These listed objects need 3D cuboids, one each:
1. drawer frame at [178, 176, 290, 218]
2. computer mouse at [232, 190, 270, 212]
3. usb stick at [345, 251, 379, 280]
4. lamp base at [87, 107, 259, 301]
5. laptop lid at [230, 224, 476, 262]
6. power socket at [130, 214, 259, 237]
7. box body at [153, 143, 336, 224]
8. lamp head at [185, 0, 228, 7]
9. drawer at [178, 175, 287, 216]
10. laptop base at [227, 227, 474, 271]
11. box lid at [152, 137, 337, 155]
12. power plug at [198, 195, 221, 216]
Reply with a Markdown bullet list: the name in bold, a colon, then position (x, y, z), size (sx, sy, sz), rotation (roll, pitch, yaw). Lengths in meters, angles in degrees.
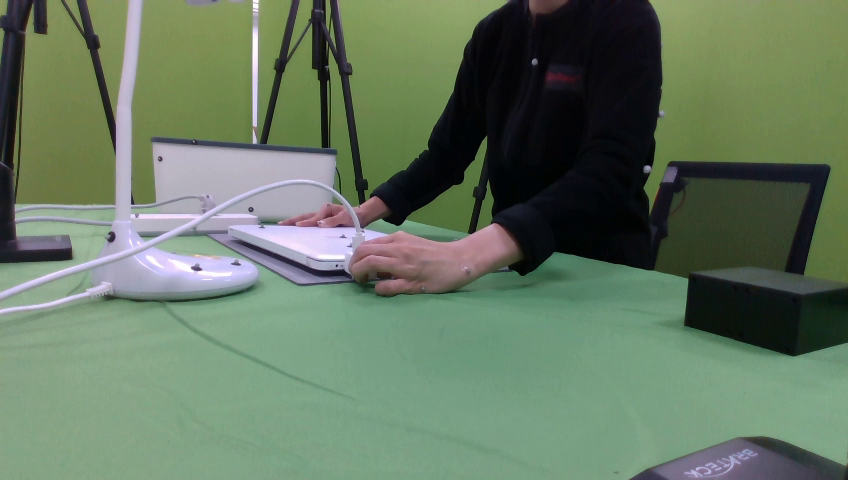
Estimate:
- **drawer frame**: position (-0.409, -0.099, 1.340), size (0.214, 0.082, 0.201), rotation (-4, 7, -10)
- **computer mouse**: position (-0.382, -0.086, 1.343), size (0.063, 0.041, 0.117), rotation (10, 10, -4)
- **usb stick**: position (-0.074, 0.027, 0.686), size (0.021, 0.027, 0.059), rotation (-6, 8, -32)
- **lamp base**: position (-0.254, -0.039, 0.603), size (0.160, 0.180, 0.179), rotation (4, 10, 18)
- **laptop lid**: position (-0.119, 0.001, 0.888), size (0.243, 0.013, 0.355), rotation (1, 7, -33)
- **power socket**: position (-0.396, -0.027, 1.048), size (0.228, 0.032, 0.072), rotation (-3, 7, -35)
- **box body**: position (-0.380, -0.130, 1.344), size (0.365, 0.160, 0.253), rotation (1, 7, -9)
- **lamp head**: position (-0.228, -0.320, 0.627), size (0.112, 0.112, 0.123), rotation (6, -36, 26)
- **drawer**: position (-0.414, -0.104, 1.342), size (0.212, 0.073, 0.194), rotation (5, 6, -11)
- **laptop base**: position (-0.122, 0.011, 0.889), size (0.237, 0.023, 0.352), rotation (2, 6, -35)
- **box lid**: position (-0.379, -0.203, 1.334), size (0.372, 0.015, 0.262), rotation (2, 7, -9)
- **power plug**: position (-0.385, -0.055, 1.088), size (0.035, 0.052, 0.072), rotation (-2, 7, -24)
